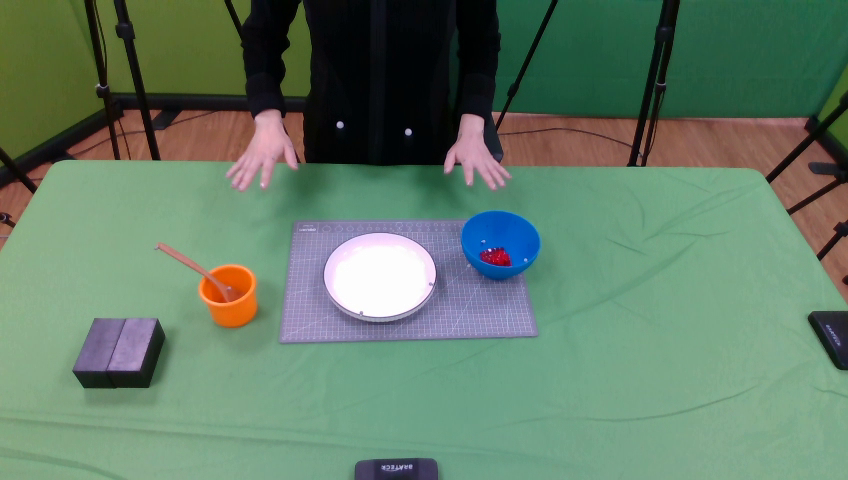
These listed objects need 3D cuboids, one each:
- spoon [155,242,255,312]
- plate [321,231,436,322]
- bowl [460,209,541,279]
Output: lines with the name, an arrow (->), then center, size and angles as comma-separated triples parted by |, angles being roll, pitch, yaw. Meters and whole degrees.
spoon -> -0.366, 0.061, 1.021 | 0.021, 0.195, 0.041 | -27, 32, 32
plate -> -0.083, 0.070, 1.109 | 0.209, 0.038, 0.208 | 3, 46, -3
bowl -> 0.140, 0.021, 1.145 | 0.151, 0.077, 0.150 | 2, 46, -2
